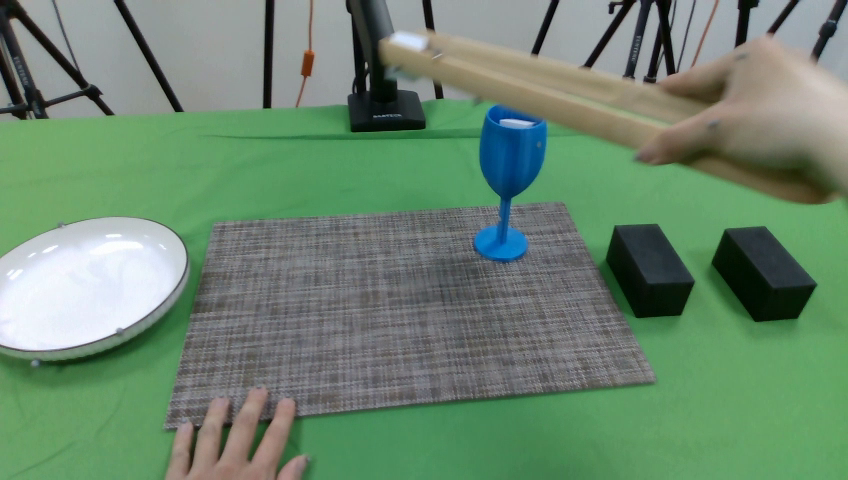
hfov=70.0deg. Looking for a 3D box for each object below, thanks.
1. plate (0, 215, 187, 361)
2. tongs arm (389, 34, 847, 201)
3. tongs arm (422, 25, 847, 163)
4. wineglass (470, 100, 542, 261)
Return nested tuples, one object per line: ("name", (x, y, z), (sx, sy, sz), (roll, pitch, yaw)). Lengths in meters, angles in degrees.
("plate", (-0.355, 0.049, 0.636), (0.209, 0.038, 0.207), (1, 39, 0))
("tongs arm", (0.115, -0.110, 0.467), (0.051, 0.027, 0.381), (-28, 44, -35))
("tongs arm", (0.135, -0.122, 0.484), (0.384, 0.028, 0.028), (29, 40, 35))
("wineglass", (0.089, -0.064, 0.677), (0.074, 0.174, 0.073), (1, 39, 0))
